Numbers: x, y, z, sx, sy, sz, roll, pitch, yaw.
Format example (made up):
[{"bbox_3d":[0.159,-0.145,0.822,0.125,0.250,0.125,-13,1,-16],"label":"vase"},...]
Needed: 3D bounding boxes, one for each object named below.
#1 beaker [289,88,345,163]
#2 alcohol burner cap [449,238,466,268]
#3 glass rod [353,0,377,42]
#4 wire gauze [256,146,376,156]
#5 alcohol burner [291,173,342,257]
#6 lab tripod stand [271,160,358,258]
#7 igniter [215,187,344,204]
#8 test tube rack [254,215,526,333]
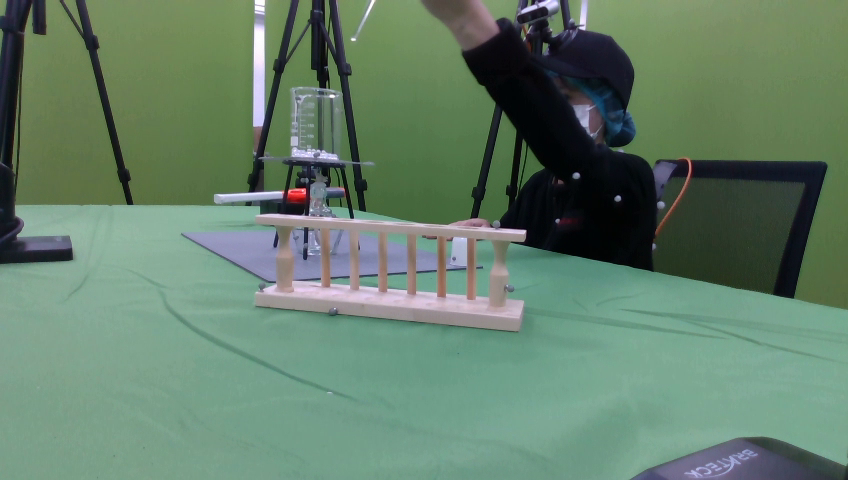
[{"bbox_3d":[-0.157,-0.160,0.862,0.083,0.100,0.074,7,7,34],"label":"beaker"},{"bbox_3d":[0.051,0.015,0.827,0.034,0.048,0.034,2,4,0],"label":"alcohol burner cap"},{"bbox_3d":[-0.038,-0.326,0.717,0.008,0.199,0.008,28,21,-11],"label":"glass rod"},{"bbox_3d":[-0.155,-0.128,0.871,0.124,0.011,0.122,2,7,36],"label":"wire gauze"},{"bbox_3d":[-0.155,-0.037,0.870,0.078,0.119,0.078,1,6,0],"label":"alcohol burner"},{"bbox_3d":[-0.160,-0.048,0.876,0.148,0.131,0.148,3,5,0],"label":"lab tripod stand"},{"bbox_3d":[-0.290,-0.093,1.256,0.278,0.025,0.057,-6,12,-35],"label":"igniter"},{"bbox_3d":[-0.030,0.025,0.557,0.242,0.085,0.067,4,7,12],"label":"test tube rack"}]
